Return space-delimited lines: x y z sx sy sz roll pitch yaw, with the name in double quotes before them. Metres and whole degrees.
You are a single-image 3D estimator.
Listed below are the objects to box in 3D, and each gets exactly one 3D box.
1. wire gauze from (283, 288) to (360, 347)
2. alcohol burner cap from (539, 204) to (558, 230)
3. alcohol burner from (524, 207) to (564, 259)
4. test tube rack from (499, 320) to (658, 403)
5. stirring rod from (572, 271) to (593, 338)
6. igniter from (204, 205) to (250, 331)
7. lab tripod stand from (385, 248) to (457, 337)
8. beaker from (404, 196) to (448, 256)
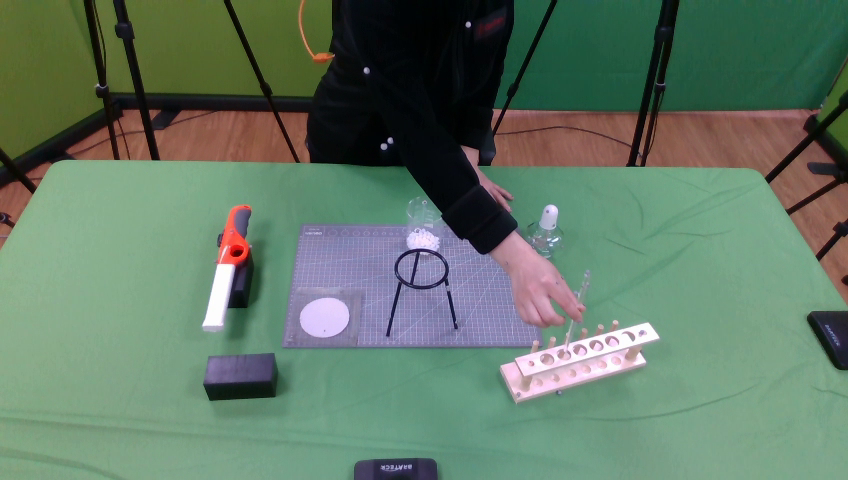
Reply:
"wire gauze" -0.178 0.132 1.063 0.125 0.011 0.120 2 46 1
"alcohol burner cap" 0.238 -0.045 1.148 0.034 0.048 0.033 2 42 -1
"alcohol burner" 0.236 -0.020 1.174 0.078 0.120 0.077 1 48 -1
"test tube rack" 0.252 0.187 0.994 0.243 0.085 0.066 -12 48 -15
"stirring rod" 0.223 0.095 0.857 0.014 0.177 0.006 21 59 22
"igniter" -0.345 0.039 1.065 0.057 0.025 0.274 2 48 -6
"lab tripod stand" -0.010 0.087 1.032 0.148 0.132 0.147 1 45 -1
"beaker" 0.001 -0.024 1.164 0.084 0.101 0.073 6 46 0
